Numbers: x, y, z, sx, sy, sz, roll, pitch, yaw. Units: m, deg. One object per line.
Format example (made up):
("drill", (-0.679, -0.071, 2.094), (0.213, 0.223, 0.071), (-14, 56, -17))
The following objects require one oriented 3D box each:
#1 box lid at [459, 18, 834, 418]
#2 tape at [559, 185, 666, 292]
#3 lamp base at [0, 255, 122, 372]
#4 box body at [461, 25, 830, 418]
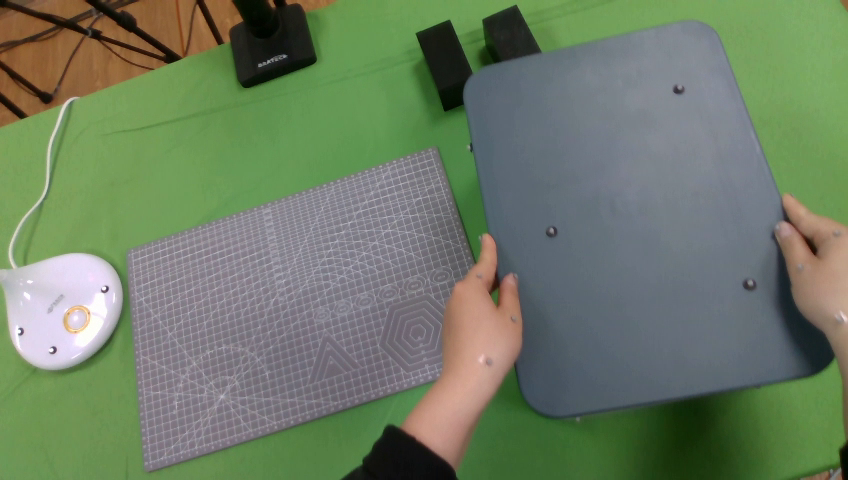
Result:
("box lid", (0.186, -0.039, 0.569), (0.263, 0.015, 0.368), (-12, 68, 7))
("tape", (0.212, -0.002, 0.688), (0.116, 0.053, 0.116), (-4, 69, 9))
("lamp base", (-0.505, 0.064, 0.742), (0.178, 0.182, 0.160), (19, 74, 20))
("box body", (0.200, -0.010, 0.640), (0.254, 0.162, 0.361), (-13, 67, 6))
